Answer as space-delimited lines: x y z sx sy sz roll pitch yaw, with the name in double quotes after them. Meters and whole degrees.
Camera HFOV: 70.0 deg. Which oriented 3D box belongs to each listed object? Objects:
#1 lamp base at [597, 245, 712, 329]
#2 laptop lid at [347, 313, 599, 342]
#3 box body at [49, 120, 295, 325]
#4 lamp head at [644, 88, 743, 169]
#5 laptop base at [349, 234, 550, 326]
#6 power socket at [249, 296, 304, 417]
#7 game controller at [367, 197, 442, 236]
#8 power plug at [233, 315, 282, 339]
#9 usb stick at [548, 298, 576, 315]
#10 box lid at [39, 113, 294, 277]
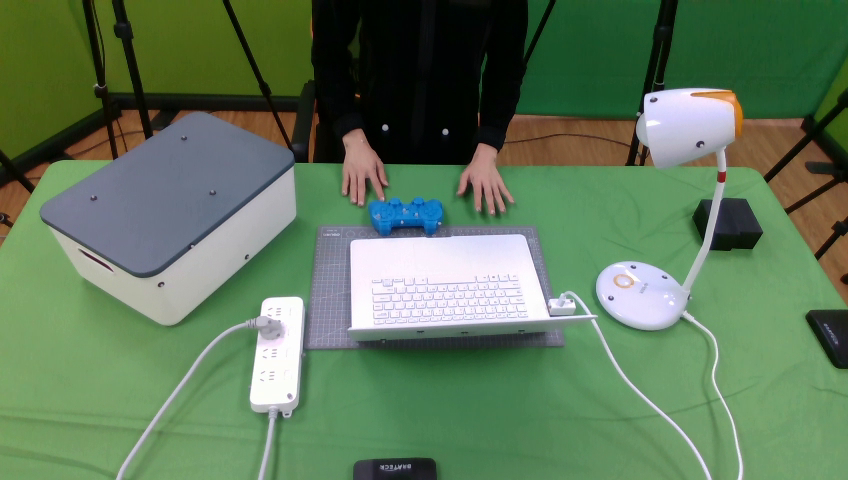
0.418 0.051 1.071 0.179 0.181 0.160 22 49 13 "lamp base"
0.062 0.137 0.932 0.357 0.242 0.013 -2 77 -8 "laptop lid"
-0.437 -0.046 1.110 0.253 0.161 0.363 24 49 19 "box body"
0.380 -0.161 0.851 0.122 0.113 0.112 -4 42 25 "lamp head"
0.040 0.080 1.125 0.355 0.023 0.234 -2 43 -6 "laptop base"
-0.239 0.182 0.996 0.072 0.033 0.225 -2 47 -5 "power socket"
-0.037 -0.057 1.231 0.155 0.052 0.096 -2 49 -5 "game controller"
-0.271 0.144 0.999 0.072 0.053 0.035 6 47 3 "power plug"
0.240 0.119 1.086 0.059 0.027 0.021 -2 52 -2 "usb stick"
-0.435 -0.096 1.056 0.262 0.015 0.370 25 48 18 "box lid"
